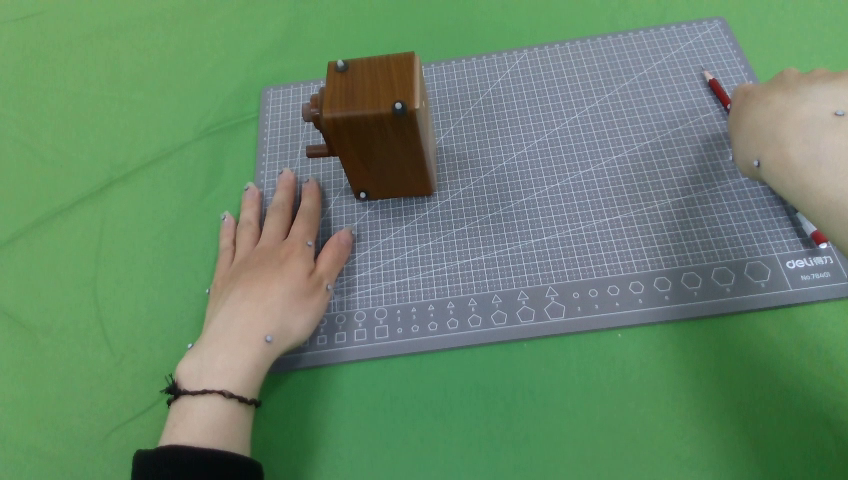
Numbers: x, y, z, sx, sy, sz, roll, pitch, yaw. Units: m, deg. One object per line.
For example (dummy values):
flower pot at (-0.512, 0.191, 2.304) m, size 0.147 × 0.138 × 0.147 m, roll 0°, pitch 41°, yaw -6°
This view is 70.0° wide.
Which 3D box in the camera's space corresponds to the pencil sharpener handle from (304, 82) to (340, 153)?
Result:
pencil sharpener handle at (-0.085, -0.092, 0.475) m, size 0.030 × 0.068 × 0.035 m, roll -4°, pitch 58°, yaw 7°

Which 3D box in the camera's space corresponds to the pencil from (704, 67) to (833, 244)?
pencil at (0.268, -0.076, 0.484) m, size 0.012 × 0.012 × 0.192 m, roll -14°, pitch 56°, yaw 0°

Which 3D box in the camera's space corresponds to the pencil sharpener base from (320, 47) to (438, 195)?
pencil sharpener base at (-0.032, -0.089, 0.480) m, size 0.076 × 0.108 × 0.061 m, roll -4°, pitch 58°, yaw 7°
